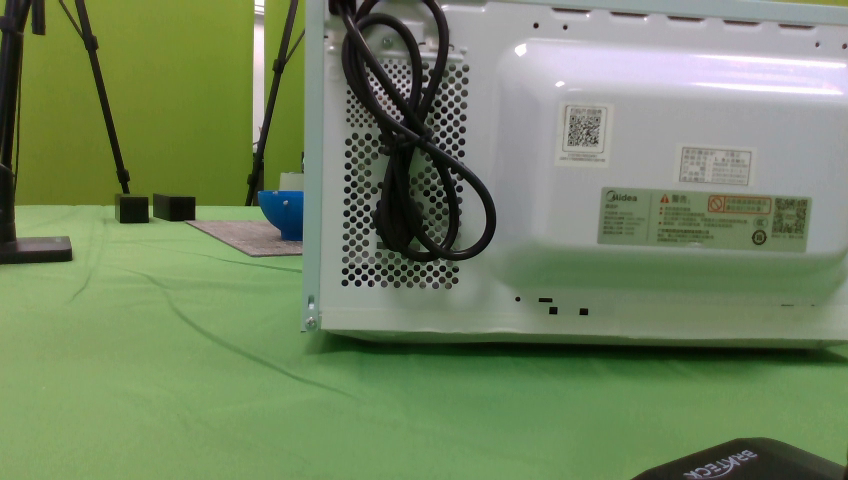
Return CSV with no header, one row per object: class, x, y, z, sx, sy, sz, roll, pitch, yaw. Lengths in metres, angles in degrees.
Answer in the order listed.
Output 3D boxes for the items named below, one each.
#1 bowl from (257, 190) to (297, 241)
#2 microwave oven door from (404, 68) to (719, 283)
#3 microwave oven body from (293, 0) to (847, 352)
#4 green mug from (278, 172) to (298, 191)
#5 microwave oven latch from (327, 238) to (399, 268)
bowl,-0.206,-0.041,1.027,0.151,0.077,0.151,3,8,0
microwave oven door,0.157,-0.082,0.738,0.355,0.243,0.039,4,8,9
microwave oven body,0.122,-0.055,0.550,0.442,0.260,0.325,3,7,-5
green mug,-0.250,-0.089,1.279,0.092,0.105,0.126,9,9,40
microwave oven latch,-0.069,0.015,0.694,0.079,0.029,0.030,3,7,-3
